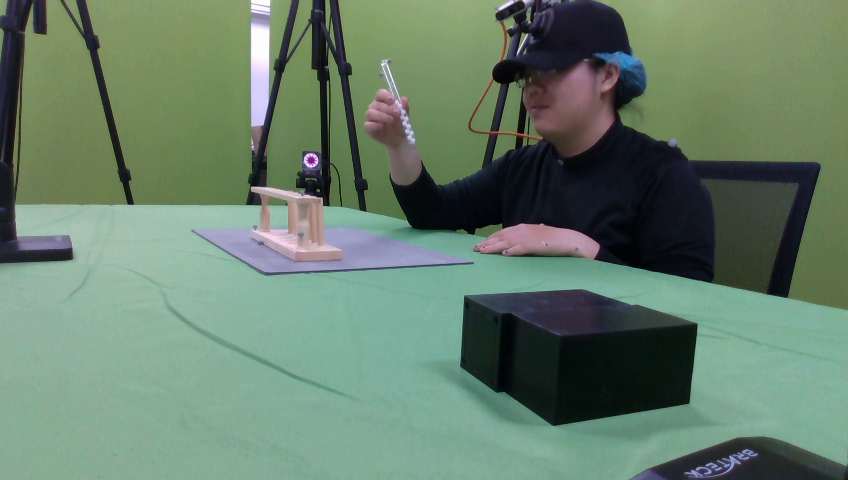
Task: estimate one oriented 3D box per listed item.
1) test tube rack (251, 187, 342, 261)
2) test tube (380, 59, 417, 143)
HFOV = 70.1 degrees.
[{"bbox_3d":[-0.196,-0.030,0.902,0.067,0.085,0.241,-2,8,-29],"label":"test tube rack"},{"bbox_3d":[-0.043,-0.233,1.016,0.017,0.150,0.017,-20,-3,-1],"label":"test tube"}]
